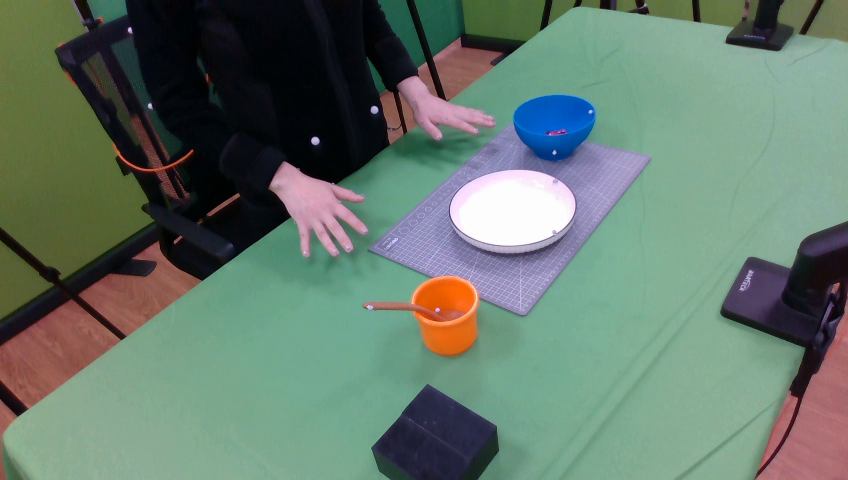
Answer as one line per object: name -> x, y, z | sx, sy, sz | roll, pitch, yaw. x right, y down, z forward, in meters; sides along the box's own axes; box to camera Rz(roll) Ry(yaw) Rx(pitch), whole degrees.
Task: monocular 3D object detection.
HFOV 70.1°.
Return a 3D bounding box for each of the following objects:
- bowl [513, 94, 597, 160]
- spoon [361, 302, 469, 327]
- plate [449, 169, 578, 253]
bowl -> 0.244, -0.202, 1.130 | 0.151, 0.077, 0.150 | -6, 40, 5
spoon -> -0.008, 0.092, 0.779 | 0.041, 0.195, 0.021 | 33, 99, 42
plate -> 0.146, -0.044, 0.993 | 0.209, 0.038, 0.208 | -5, 40, 5
